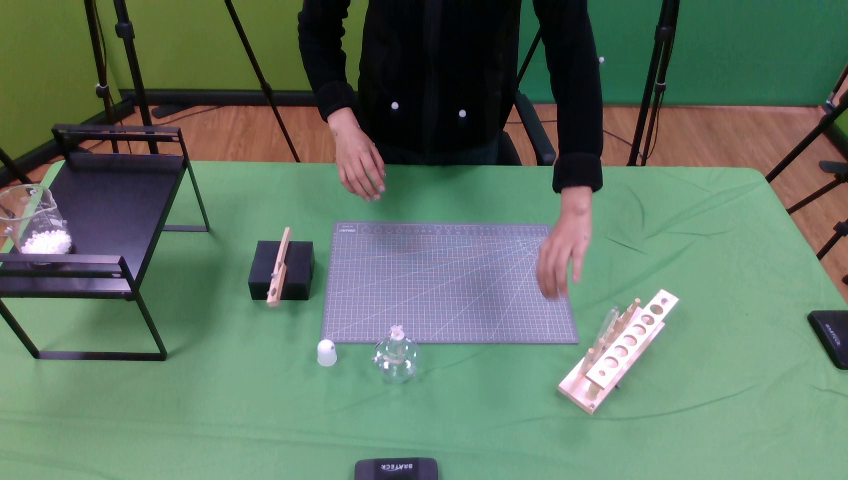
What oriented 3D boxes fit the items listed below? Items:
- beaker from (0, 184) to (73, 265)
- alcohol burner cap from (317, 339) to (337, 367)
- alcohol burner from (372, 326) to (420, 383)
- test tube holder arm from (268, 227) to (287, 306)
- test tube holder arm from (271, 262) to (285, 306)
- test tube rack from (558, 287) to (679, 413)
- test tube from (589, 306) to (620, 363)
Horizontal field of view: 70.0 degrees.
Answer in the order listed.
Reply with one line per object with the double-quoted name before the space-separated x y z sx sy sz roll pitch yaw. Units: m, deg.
"beaker" -0.556 -0.019 0.871 0.084 0.101 0.073 3 46 -2
"alcohol burner cap" -0.161 0.182 0.995 0.034 0.048 0.033 2 47 -1
"alcohol burner" -0.045 0.175 0.961 0.078 0.120 0.077 1 47 -1
"test tube holder arm" -0.258 0.043 1.071 0.013 0.015 0.177 -5 46 1
"test tube holder arm" -0.250 0.075 1.040 0.010 0.015 0.087 -4 46 2
"test tube rack" 0.326 0.170 1.009 0.066 0.085 0.242 36 54 27
"test tube" 0.284 0.152 0.961 0.017 0.151 0.017 2 49 -2
